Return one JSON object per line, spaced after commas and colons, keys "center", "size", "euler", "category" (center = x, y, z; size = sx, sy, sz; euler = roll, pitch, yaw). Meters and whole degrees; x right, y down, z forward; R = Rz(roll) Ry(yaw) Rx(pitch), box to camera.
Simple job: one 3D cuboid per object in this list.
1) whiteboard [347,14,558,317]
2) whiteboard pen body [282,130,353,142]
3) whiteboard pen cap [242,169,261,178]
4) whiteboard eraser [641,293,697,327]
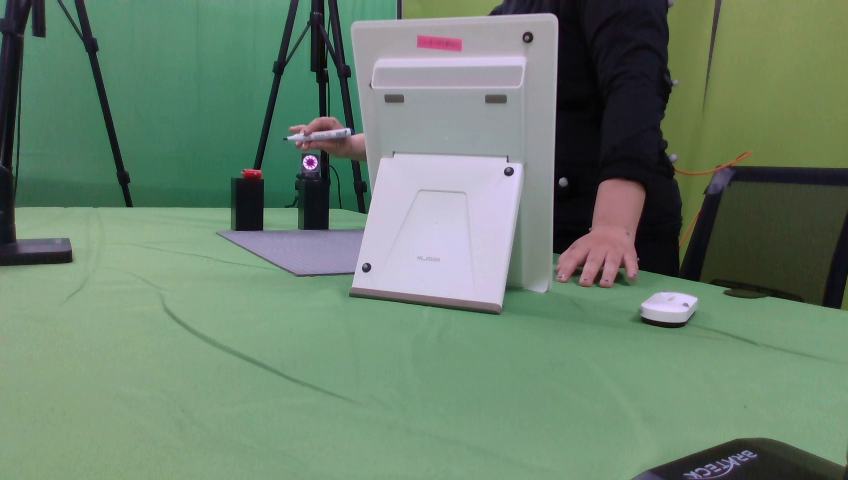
{"center": [0.012, -0.056, 0.609], "size": [0.216, 0.305, 0.144], "euler": [5, 27, 20], "category": "whiteboard"}
{"center": [-0.209, -0.203, 1.188], "size": [0.141, 0.017, 0.017], "euler": [-9, 11, -21], "category": "whiteboard pen body"}
{"center": [-0.327, -0.126, 1.144], "size": [0.032, 0.017, 0.017], "euler": [-1, 8, -36], "category": "whiteboard pen cap"}
{"center": [0.240, 0.066, 0.590], "size": [0.041, 0.019, 0.102], "euler": [6, 7, 31], "category": "whiteboard eraser"}
